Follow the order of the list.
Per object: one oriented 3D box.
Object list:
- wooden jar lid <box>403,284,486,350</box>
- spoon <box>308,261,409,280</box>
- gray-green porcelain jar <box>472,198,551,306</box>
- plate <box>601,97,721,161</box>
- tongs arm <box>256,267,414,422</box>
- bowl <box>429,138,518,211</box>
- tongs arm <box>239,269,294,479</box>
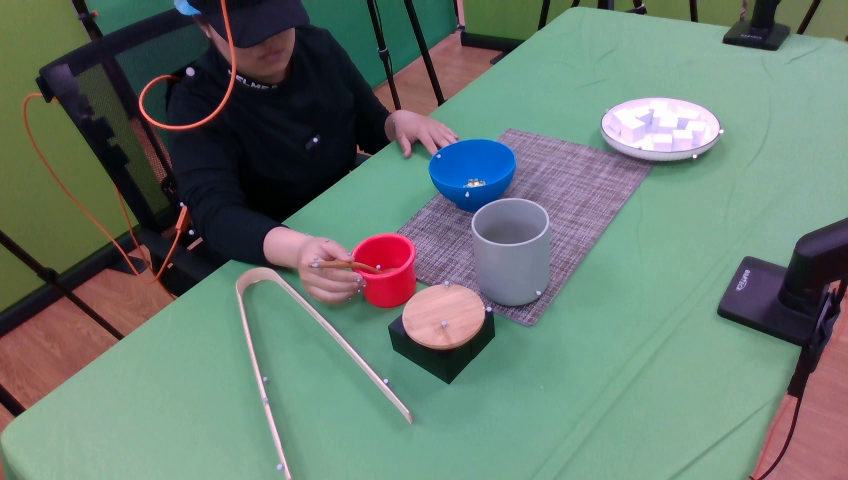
[{"bbox_3d":[0.027,0.101,0.786,0.108,0.021,0.108,-5,39,4],"label":"wooden jar lid"},{"bbox_3d":[-0.091,0.040,0.862,0.041,0.195,0.021,18,92,39],"label":"spoon"},{"bbox_3d":[0.125,0.021,0.850,0.106,0.127,0.105,-6,40,5],"label":"gray-green porcelain jar"},{"bbox_3d":[0.437,-0.202,1.126,0.209,0.038,0.208,-5,39,5],"label":"plate"},{"bbox_3d":[-0.136,0.132,0.853,0.028,0.028,0.384,-34,45,-23],"label":"tongs arm"},{"bbox_3d":[0.087,-0.103,1.043,0.151,0.077,0.150,-5,40,5],"label":"bowl"},{"bbox_3d":[-0.208,0.163,0.824,0.051,0.026,0.381,-22,40,-15],"label":"tongs arm"}]
